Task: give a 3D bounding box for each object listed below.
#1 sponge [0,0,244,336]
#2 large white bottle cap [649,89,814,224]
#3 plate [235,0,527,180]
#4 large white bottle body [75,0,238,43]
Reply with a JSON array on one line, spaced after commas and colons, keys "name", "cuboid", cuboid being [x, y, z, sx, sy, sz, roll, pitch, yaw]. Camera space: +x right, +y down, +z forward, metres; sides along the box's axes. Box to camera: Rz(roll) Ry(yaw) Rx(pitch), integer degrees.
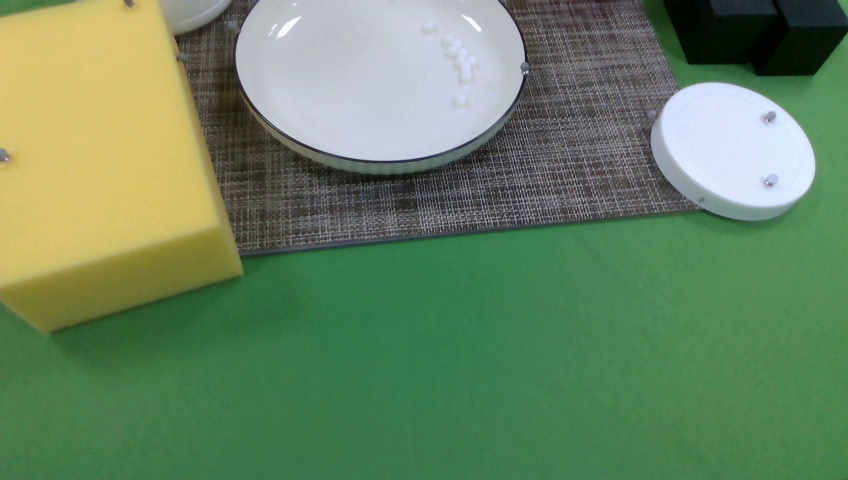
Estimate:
[{"name": "sponge", "cuboid": [-0.202, -0.056, 0.384, 0.118, 0.061, 0.205, -18, 62, -14]}, {"name": "large white bottle cap", "cuboid": [0.223, -0.063, 0.441, 0.115, 0.018, 0.114, 3, 60, -5]}, {"name": "plate", "cuboid": [-0.030, -0.124, 0.448, 0.209, 0.038, 0.207, 2, 59, -3]}, {"name": "large white bottle body", "cuboid": [-0.212, -0.249, 0.424, 0.131, 0.186, 0.129, 1, 59, -2]}]
